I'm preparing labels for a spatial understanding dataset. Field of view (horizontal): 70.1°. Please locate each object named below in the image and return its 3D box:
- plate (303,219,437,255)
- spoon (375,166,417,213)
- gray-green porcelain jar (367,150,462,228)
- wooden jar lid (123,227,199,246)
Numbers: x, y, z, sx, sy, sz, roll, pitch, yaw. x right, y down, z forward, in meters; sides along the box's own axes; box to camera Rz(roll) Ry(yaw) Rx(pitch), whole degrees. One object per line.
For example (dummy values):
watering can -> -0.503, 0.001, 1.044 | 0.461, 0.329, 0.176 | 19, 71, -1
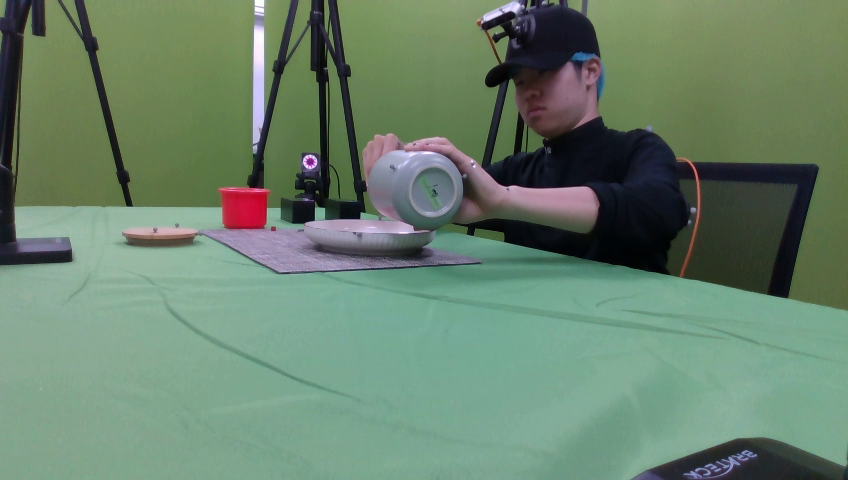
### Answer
plate -> -0.084, -0.005, 0.952 | 0.208, 0.039, 0.207 | 3, 7, 0
spoon -> -0.051, -0.083, 0.937 | 0.042, 0.021, 0.193 | 28, 9, -28
gray-green porcelain jar -> -0.012, -0.073, 0.848 | 0.106, 0.106, 0.126 | 0, 8, -22
wooden jar lid -> -0.408, -0.006, 0.942 | 0.108, 0.020, 0.108 | 3, 6, 0
